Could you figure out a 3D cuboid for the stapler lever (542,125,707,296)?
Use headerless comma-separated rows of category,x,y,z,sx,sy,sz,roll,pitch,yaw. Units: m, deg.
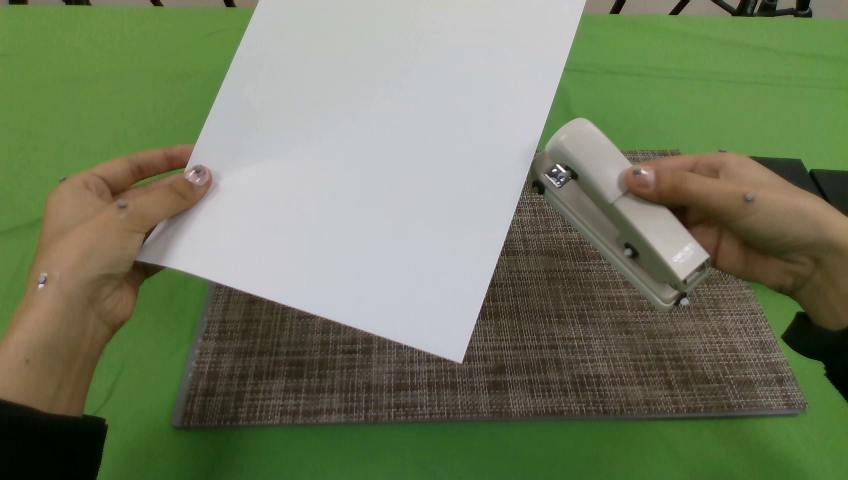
stapler lever,0.117,-0.020,0.358,0.027,0.040,0.117,-40,73,-6

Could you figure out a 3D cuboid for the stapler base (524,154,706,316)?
stapler base,0.118,-0.013,0.381,0.041,0.024,0.130,-40,74,-6
